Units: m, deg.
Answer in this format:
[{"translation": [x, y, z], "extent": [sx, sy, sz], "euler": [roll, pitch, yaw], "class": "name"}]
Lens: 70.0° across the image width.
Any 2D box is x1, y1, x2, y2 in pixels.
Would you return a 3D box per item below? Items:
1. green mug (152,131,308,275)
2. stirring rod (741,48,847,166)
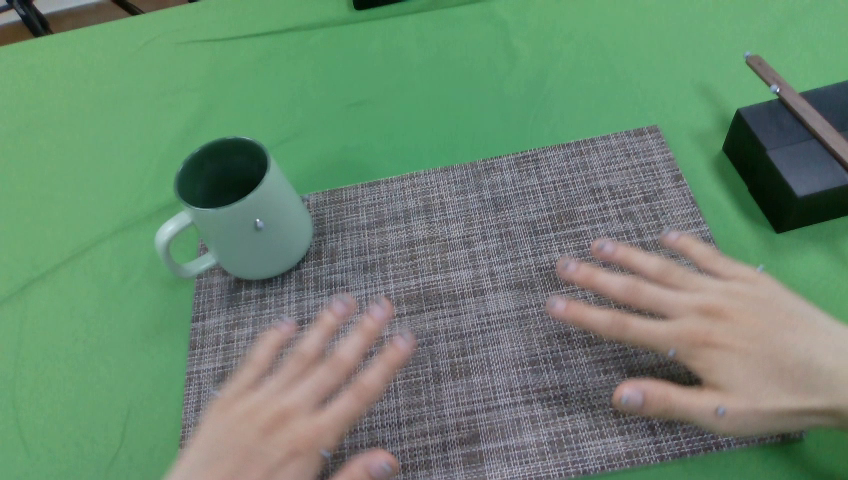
[{"translation": [-0.168, -0.019, 0.516], "extent": [0.125, 0.106, 0.091], "euler": [-39, 60, -16], "class": "green mug"}, {"translation": [0.316, -0.103, 0.496], "extent": [0.014, 0.006, 0.174], "euler": [-18, 56, -4], "class": "stirring rod"}]
